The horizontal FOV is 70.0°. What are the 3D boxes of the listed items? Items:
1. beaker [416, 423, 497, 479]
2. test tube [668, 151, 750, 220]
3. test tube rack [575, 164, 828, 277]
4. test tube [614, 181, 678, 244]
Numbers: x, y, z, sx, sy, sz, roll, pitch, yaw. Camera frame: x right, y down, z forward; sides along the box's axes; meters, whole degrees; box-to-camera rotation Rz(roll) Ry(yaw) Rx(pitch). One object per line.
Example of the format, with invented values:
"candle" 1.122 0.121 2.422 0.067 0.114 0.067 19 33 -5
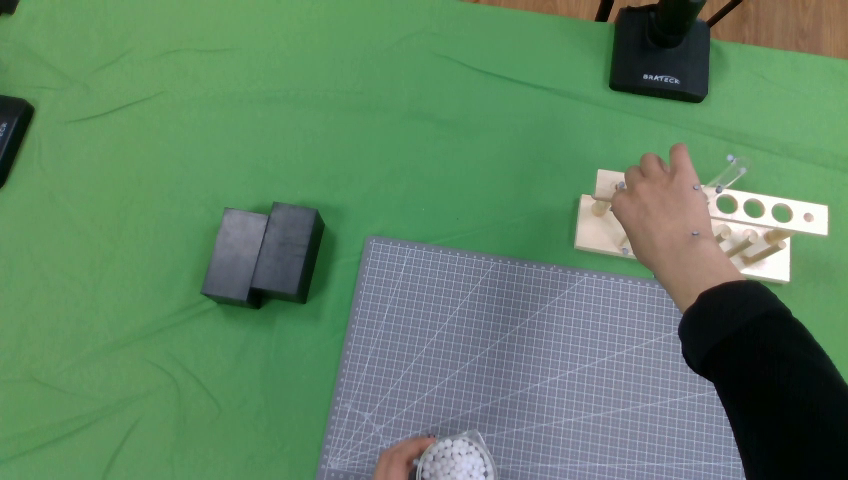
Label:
"beaker" 0.032 0.221 0.595 0.074 0.101 0.083 24 74 7
"test tube" 0.293 -0.052 0.633 0.017 0.151 0.017 1 71 -2
"test tube rack" 0.301 -0.020 0.674 0.242 0.085 0.066 10 73 3
"test tube" 0.228 -0.026 0.630 0.017 0.151 0.017 0 72 -1
